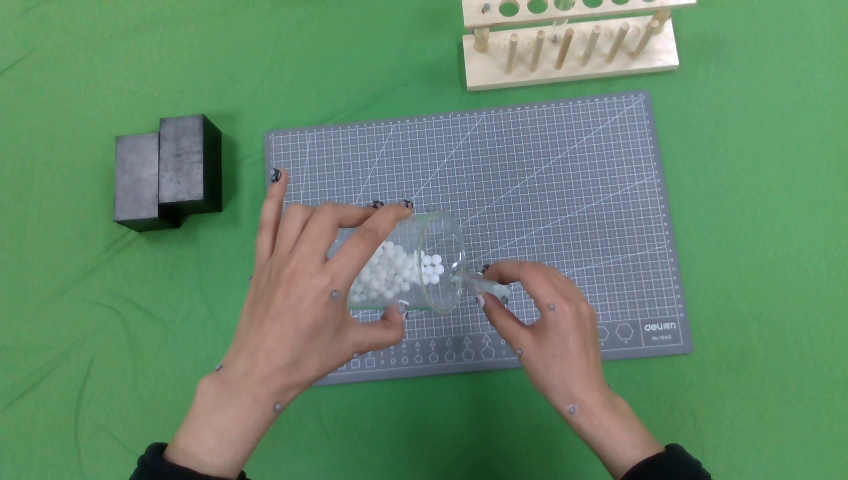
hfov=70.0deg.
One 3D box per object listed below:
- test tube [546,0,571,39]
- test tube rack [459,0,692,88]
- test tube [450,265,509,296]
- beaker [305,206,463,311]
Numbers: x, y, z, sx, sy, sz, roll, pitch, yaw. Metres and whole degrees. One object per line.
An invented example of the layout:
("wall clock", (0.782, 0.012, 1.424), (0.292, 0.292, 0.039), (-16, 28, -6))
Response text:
("test tube", (0.147, -0.257, 0.632), (0.017, 0.151, 0.017), (0, 75, 1))
("test tube rack", (0.163, -0.230, 0.676), (0.242, 0.085, 0.066), (-5, 78, 3))
("test tube", (0.052, 0.037, 0.533), (0.017, 0.151, 0.017), (-3, 80, 20))
("beaker", (-0.029, 0.016, 0.452), (0.100, 0.085, 0.073), (-2, 70, 28))
